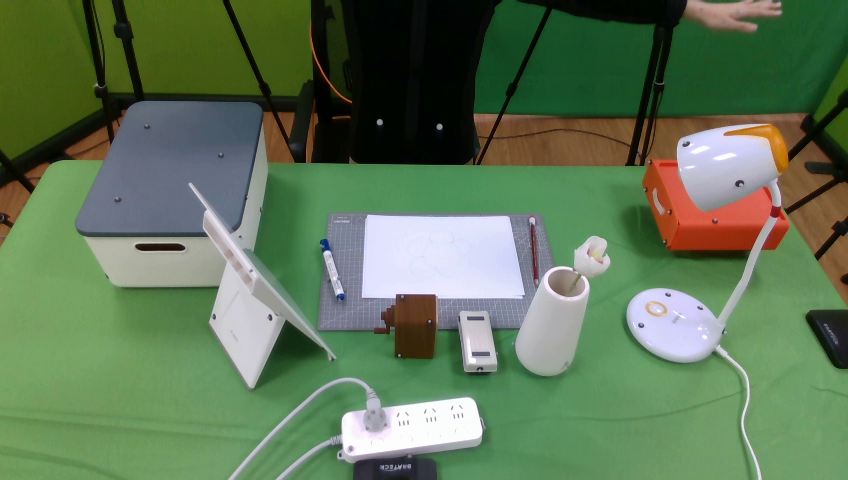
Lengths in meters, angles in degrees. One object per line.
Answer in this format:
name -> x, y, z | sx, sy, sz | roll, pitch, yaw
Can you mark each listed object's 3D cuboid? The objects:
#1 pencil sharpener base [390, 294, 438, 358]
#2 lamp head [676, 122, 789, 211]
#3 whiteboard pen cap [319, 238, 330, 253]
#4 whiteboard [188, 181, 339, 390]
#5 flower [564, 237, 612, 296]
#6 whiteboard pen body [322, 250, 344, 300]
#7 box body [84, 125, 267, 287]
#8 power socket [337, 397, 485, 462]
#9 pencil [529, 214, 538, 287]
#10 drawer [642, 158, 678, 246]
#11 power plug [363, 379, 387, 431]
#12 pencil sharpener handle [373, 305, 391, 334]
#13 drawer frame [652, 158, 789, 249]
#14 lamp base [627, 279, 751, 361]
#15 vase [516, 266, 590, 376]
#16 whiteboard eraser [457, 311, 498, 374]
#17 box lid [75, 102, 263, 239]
pencil sharpener base -> -0.018, 0.143, 1.000 | 0.077, 0.107, 0.061 | 1, 46, -2
lamp head -> 0.423, -0.104, 0.819 | 0.122, 0.113, 0.112 | -13, 33, 40
whiteboard pen cap -> -0.191, 0.013, 1.163 | 0.018, 0.018, 0.033 | -12, 49, -16
whiteboard -> -0.292, 0.096, 0.929 | 0.144, 0.307, 0.216 | -38, 57, -10
flower -> 0.206, 0.088, 0.893 | 0.038, 0.363, 0.044 | -17, 67, -9
whiteboard pen body -> -0.173, 0.056, 1.127 | 0.017, 0.017, 0.140 | -12, 49, -16
box body -> -0.446, -0.088, 1.150 | 0.254, 0.161, 0.361 | -1, 46, -5
power socket -> -0.018, 0.285, 0.915 | 0.227, 0.033, 0.071 | -5, 46, -8
pencil -> 0.219, 0.019, 1.202 | 0.012, 0.012, 0.193 | 5, 47, 1
drawer -> 0.566, -0.076, 1.211 | 0.212, 0.073, 0.193 | 2, 45, -2
power plug -> -0.072, 0.252, 0.910 | 0.035, 0.053, 0.072 | 3, 45, -1
pencil sharpener handle -> -0.069, 0.133, 0.989 | 0.030, 0.068, 0.036 | 1, 47, -2
drawer frame -> 0.571, -0.075, 1.214 | 0.214, 0.083, 0.200 | 0, 46, -1
lamp base -> 0.459, 0.100, 1.027 | 0.178, 0.181, 0.160 | 27, 51, 17
vase -> 0.208, 0.132, 0.964 | 0.098, 0.201, 0.097 | 3, 46, -3
whiteboard eraser -> 0.089, 0.173, 1.025 | 0.055, 0.042, 0.112 | -2, 47, -4
box lid -> -0.443, -0.138, 1.094 | 0.263, 0.015, 0.369 | -1, 47, -5
